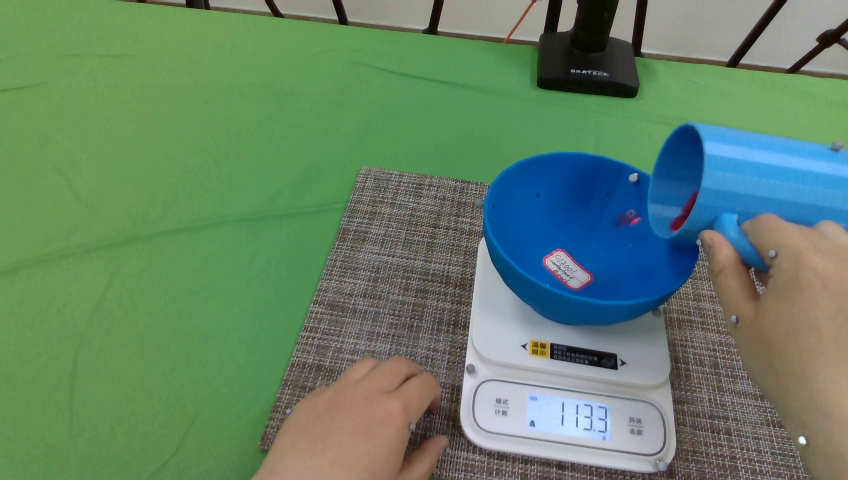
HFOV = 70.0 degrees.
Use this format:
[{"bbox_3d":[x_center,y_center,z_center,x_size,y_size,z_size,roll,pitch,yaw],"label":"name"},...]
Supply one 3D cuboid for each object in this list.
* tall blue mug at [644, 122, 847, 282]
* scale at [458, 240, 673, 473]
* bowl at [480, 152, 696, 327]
[{"bbox_3d":[0.213,-0.025,0.380,0.108,0.078,0.106,9,13,-5],"label":"tall blue mug"},{"bbox_3d":[0.108,0.070,0.468,0.148,0.032,0.199,8,48,4],"label":"scale"},{"bbox_3d":[0.111,0.011,0.450,0.151,0.077,0.150,2,47,-2],"label":"bowl"}]
